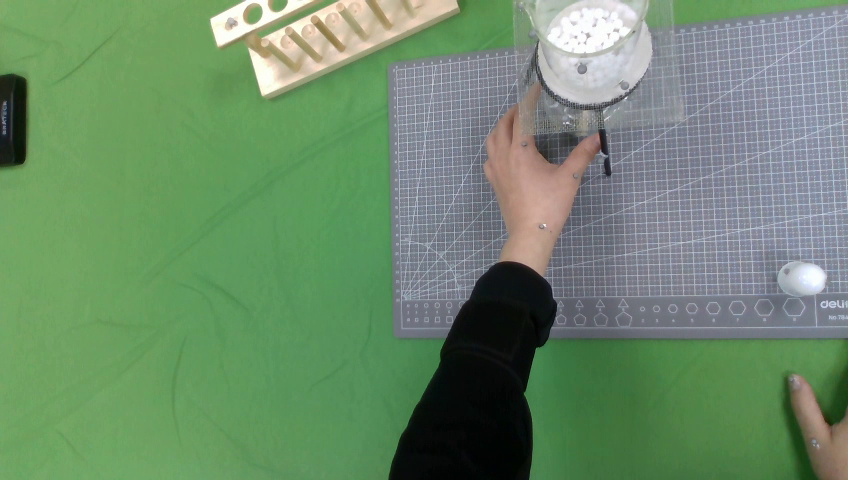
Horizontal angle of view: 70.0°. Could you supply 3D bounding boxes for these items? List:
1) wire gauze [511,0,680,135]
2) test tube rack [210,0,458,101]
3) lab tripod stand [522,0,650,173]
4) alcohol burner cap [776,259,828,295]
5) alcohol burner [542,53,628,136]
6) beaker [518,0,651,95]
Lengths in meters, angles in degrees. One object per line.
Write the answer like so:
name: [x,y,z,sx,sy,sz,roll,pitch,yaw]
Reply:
wire gauze: [0.133,-0.146,0.477,0.125,0.011,0.121,-3,90,13]
test tube rack: [-0.094,-0.235,0.643,0.242,0.085,0.066,-20,81,14]
lab tripod stand: [0.151,-0.141,0.540,0.148,0.132,0.148,-1,88,14]
alcohol burner cap: [0.331,0.031,0.527,0.034,0.048,0.034,-1,86,15]
alcohol burner: [0.146,-0.137,0.551,0.077,0.119,0.077,-1,85,14]
beaker: [0.114,-0.150,0.432,0.083,0.100,0.074,11,90,17]
